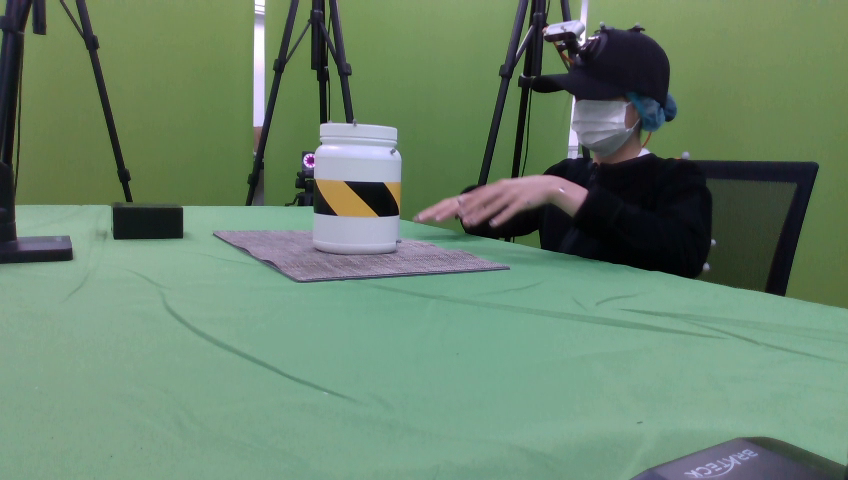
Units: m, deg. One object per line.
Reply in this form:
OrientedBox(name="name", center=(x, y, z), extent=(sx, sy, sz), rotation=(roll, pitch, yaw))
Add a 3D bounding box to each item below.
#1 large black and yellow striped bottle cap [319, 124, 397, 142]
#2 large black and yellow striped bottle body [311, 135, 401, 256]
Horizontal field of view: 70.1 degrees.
OrientedBox(name="large black and yellow striped bottle cap", center=(-0.098, -0.158, 0.895), extent=(0.115, 0.019, 0.115), rotation=(5, 7, 0))
OrientedBox(name="large black and yellow striped bottle body", center=(-0.101, -0.075, 0.904), extent=(0.131, 0.184, 0.130), rotation=(3, 7, 0))
